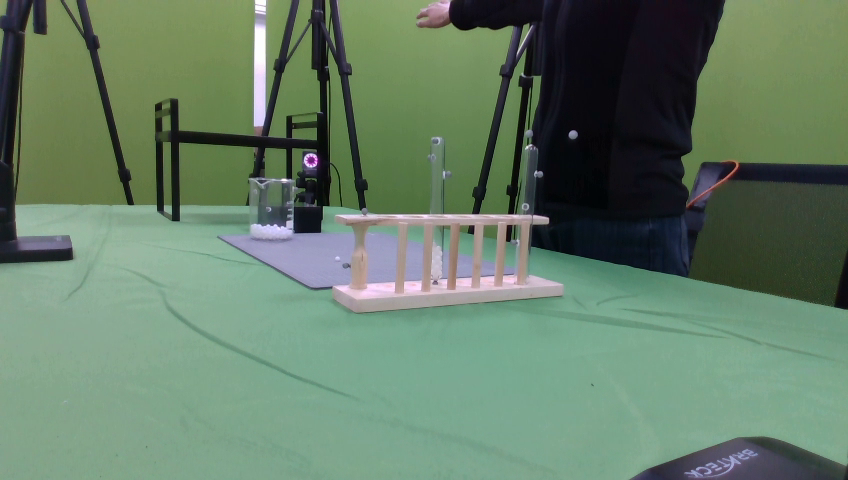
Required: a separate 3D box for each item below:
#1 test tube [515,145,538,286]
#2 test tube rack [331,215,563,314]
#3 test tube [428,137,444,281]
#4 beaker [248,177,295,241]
[{"bbox_3d":[0.108,-0.024,0.639,0.017,0.150,0.017,2,9,0],"label":"test tube"},{"bbox_3d":[0.031,0.019,0.626,0.243,0.085,0.066,-1,8,-28],"label":"test tube rack"},{"bbox_3d":[0.012,-0.032,0.631,0.017,0.150,0.017,1,3,0],"label":"test tube"},{"bbox_3d":[-0.252,-0.051,0.992,0.074,0.100,0.084,3,9,6],"label":"beaker"}]
